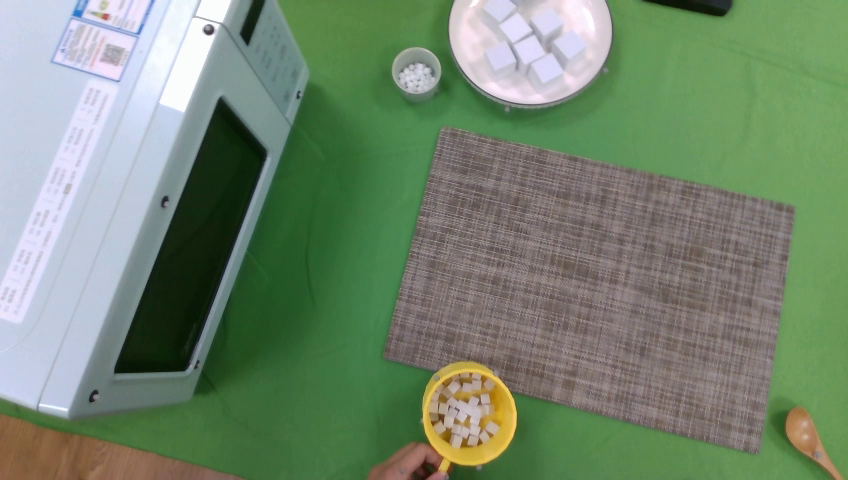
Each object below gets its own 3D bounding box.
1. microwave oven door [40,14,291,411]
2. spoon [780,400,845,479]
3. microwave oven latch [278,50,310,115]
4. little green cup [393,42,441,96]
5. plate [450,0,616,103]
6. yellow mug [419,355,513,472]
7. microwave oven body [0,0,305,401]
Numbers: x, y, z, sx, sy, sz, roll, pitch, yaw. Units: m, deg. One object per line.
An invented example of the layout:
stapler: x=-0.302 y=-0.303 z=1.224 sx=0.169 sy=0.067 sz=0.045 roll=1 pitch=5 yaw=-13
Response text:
microwave oven door: x=-0.239 y=-0.011 z=0.619 sx=0.039 sy=0.244 sz=0.354 roll=17 pitch=81 yaw=5
spoon: x=0.465 y=0.268 z=0.686 sx=0.041 sy=0.022 sz=0.193 roll=-29 pitch=80 yaw=-22
microwave oven latch: x=-0.167 y=-0.199 z=0.753 sx=0.030 sy=0.029 sz=0.079 roll=18 pitch=82 yaw=4
little green cup: x=-0.009 y=-0.214 z=0.769 sx=0.061 sy=0.039 sz=0.061 roll=0 pitch=81 yaw=0
plate: x=0.137 y=-0.271 z=0.778 sx=0.207 sy=0.039 sz=0.207 roll=0 pitch=80 yaw=1
yellow mug: x=0.037 y=0.195 z=0.667 sx=0.100 sy=0.064 sz=0.130 roll=26 pitch=87 yaw=0
microwave oven body: x=-0.365 y=-0.093 z=0.641 sx=0.326 sy=0.261 sz=0.440 roll=17 pitch=82 yaw=4
